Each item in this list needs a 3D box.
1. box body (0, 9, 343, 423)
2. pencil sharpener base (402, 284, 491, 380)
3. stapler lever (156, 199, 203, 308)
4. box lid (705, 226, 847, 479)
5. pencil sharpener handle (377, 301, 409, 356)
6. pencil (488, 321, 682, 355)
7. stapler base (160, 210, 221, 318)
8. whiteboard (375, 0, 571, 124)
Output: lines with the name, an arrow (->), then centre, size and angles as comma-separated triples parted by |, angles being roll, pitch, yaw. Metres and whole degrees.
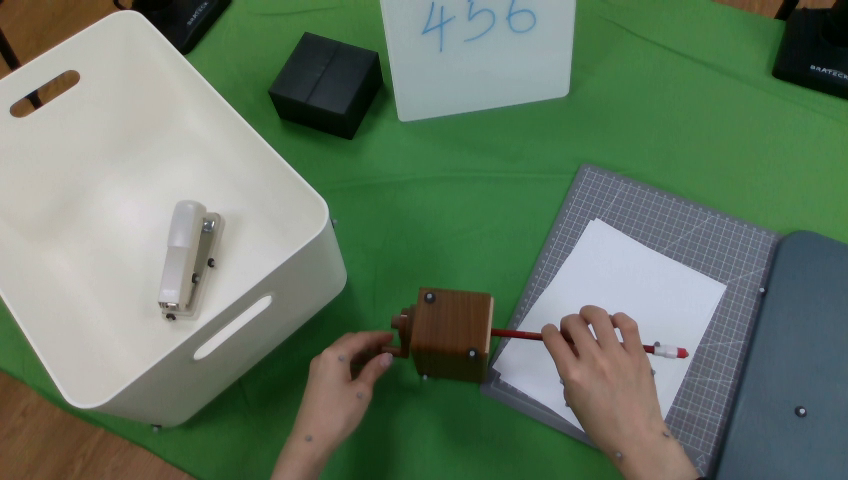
box body -> -0.284, -0.025, 0.620 | 0.254, 0.161, 0.361 | -41, 69, -15
pencil sharpener base -> 0.022, 0.090, 0.581 | 0.076, 0.108, 0.061 | 6, 65, 6
stapler lever -> -0.260, 0.012, 0.643 | 0.027, 0.040, 0.117 | 3, 67, 7
box lid -> 0.429, 0.175, 0.574 | 0.262, 0.015, 0.370 | 23, 68, 12
pencil sharpener handle -> -0.030, 0.085, 0.571 | 0.030, 0.068, 0.035 | 6, 41, 6
pencil -> 0.134, 0.087, 0.548 | 0.194, 0.012, 0.012 | 7, 65, 5
stapler base -> -0.259, 0.021, 0.667 | 0.041, 0.024, 0.129 | 3, 67, 7
whiteboard -> 0.048, -0.317, 0.697 | 0.217, 0.308, 0.142 | -9, 45, 0
